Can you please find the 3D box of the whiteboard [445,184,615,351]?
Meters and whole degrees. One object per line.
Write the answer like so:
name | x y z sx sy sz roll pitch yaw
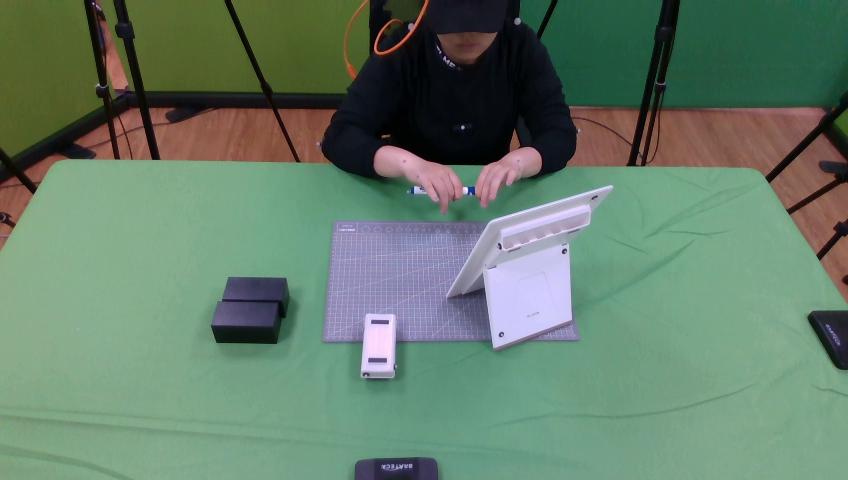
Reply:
whiteboard | 0.186 0.065 0.989 0.217 0.306 0.143 -15 68 -18

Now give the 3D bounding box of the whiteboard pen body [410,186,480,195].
whiteboard pen body | 0.042 -0.098 1.209 0.141 0.017 0.017 1 46 -8

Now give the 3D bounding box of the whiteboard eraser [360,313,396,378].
whiteboard eraser | -0.075 0.176 1.006 0.055 0.042 0.112 3 50 -4

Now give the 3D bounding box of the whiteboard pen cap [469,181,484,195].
whiteboard pen cap | 0.105 -0.104 1.214 0.018 0.018 0.033 32 52 24
